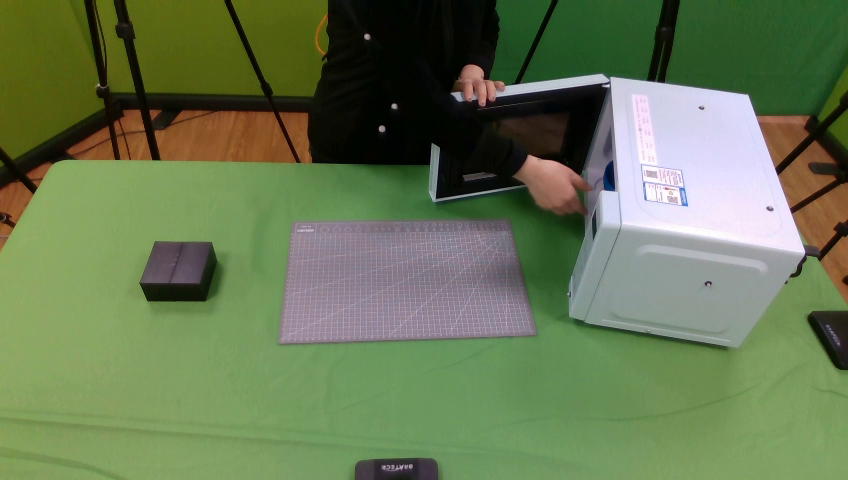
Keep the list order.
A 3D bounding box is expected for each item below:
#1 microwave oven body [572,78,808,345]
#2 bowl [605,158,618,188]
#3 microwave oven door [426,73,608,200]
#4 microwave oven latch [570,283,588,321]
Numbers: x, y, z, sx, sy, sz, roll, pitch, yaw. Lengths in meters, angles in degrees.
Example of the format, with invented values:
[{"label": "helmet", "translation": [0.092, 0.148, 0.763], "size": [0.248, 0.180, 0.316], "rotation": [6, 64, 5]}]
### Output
[{"label": "microwave oven body", "translation": [0.455, -0.063, 1.125], "size": [0.326, 0.261, 0.439], "rotation": [8, 45, 5]}, {"label": "bowl", "translation": [0.422, -0.094, 1.195], "size": [0.151, 0.077, 0.150], "rotation": [4, 48, -4]}, {"label": "microwave oven door", "translation": [0.185, -0.209, 1.237], "size": [0.356, 0.245, 0.039], "rotation": [-11, 48, -14]}, {"label": "microwave oven latch", "translation": [0.276, 0.105, 1.082], "size": [0.030, 0.029, 0.079], "rotation": [10, 45, 7]}]
